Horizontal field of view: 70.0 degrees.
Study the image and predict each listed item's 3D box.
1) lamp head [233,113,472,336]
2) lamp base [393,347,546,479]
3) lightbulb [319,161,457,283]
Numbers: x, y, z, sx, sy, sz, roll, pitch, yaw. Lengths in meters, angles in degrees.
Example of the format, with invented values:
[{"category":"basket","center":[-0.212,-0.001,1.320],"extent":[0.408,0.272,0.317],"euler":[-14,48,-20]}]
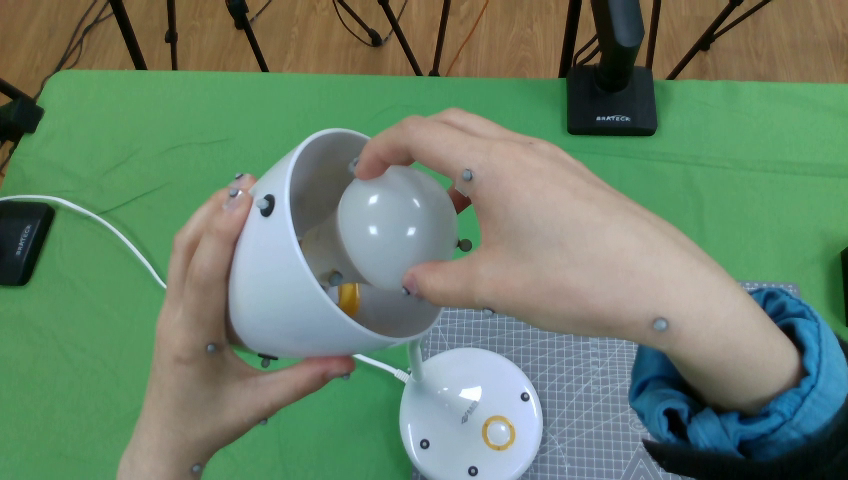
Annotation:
[{"category":"lamp head","center":[-0.048,0.007,0.341],"extent":[0.113,0.123,0.111],"euler":[22,53,-33]},{"category":"lamp base","center":[0.042,0.163,0.624],"extent":[0.179,0.182,0.159],"euler":[9,64,10]},{"category":"lightbulb","center":[-0.030,-0.003,0.315],"extent":[0.107,0.060,0.059],"euler":[-20,53,43]}]
